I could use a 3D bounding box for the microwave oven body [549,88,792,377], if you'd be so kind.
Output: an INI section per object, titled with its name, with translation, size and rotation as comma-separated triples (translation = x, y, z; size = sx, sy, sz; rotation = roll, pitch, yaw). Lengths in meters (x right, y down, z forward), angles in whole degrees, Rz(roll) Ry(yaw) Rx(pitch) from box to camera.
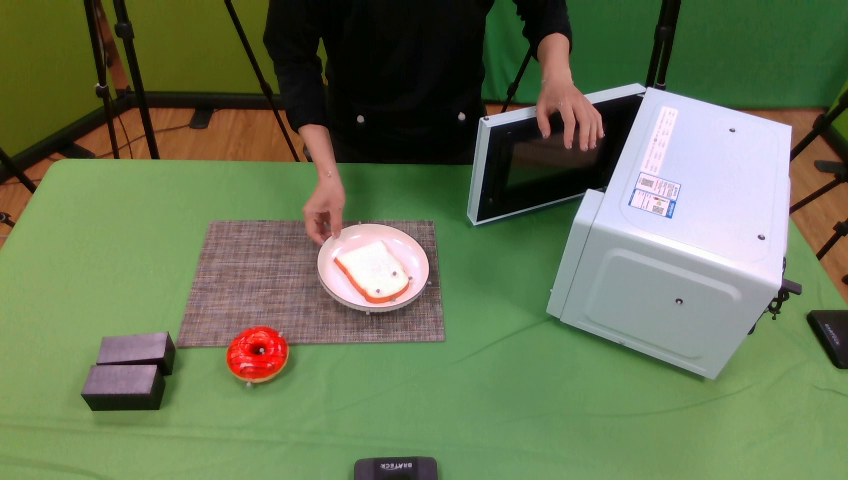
[microwave oven body]
translation = 0.456, -0.028, 1.088
size = 0.325, 0.261, 0.440
rotation = 20, 47, 16

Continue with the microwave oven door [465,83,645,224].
[microwave oven door]
translation = 0.259, -0.171, 1.205
size = 0.356, 0.245, 0.039
rotation = -16, 50, -18

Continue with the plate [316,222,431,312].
[plate]
translation = -0.092, 0.052, 1.114
size = 0.208, 0.039, 0.206
rotation = 6, 46, -6

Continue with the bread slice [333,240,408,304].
[bread slice]
translation = -0.089, 0.059, 1.111
size = 0.105, 0.019, 0.131
rotation = -24, 55, -29

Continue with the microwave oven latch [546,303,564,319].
[microwave oven latch]
translation = 0.242, 0.102, 1.081
size = 0.030, 0.029, 0.079
rotation = 22, 48, 17

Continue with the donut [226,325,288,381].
[donut]
translation = -0.270, 0.182, 0.984
size = 0.099, 0.048, 0.098
rotation = 5, 49, -5
